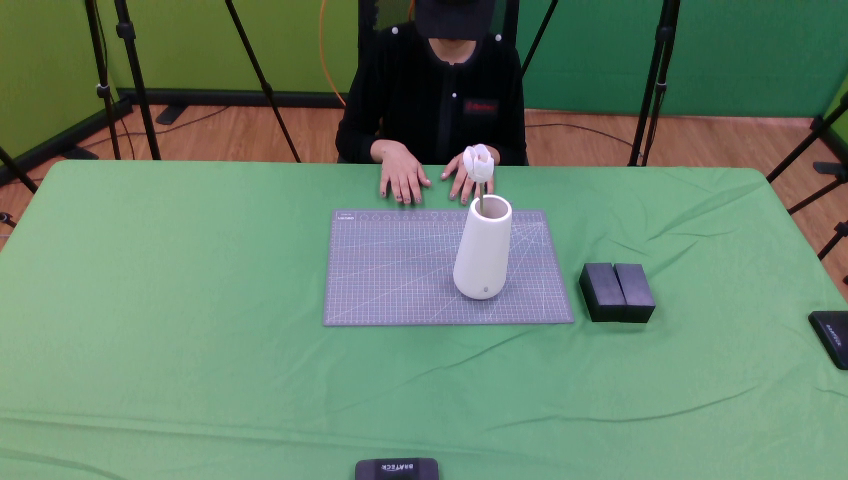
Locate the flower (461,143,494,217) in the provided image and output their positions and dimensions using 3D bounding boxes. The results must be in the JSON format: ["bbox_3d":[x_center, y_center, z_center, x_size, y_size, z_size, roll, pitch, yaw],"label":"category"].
[{"bbox_3d":[0.097,-0.035,0.998,0.044,0.363,0.038,20,65,19],"label":"flower"}]

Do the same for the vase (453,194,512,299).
[{"bbox_3d":[0.107,0.016,1.065,0.098,0.201,0.097,3,47,-3],"label":"vase"}]
